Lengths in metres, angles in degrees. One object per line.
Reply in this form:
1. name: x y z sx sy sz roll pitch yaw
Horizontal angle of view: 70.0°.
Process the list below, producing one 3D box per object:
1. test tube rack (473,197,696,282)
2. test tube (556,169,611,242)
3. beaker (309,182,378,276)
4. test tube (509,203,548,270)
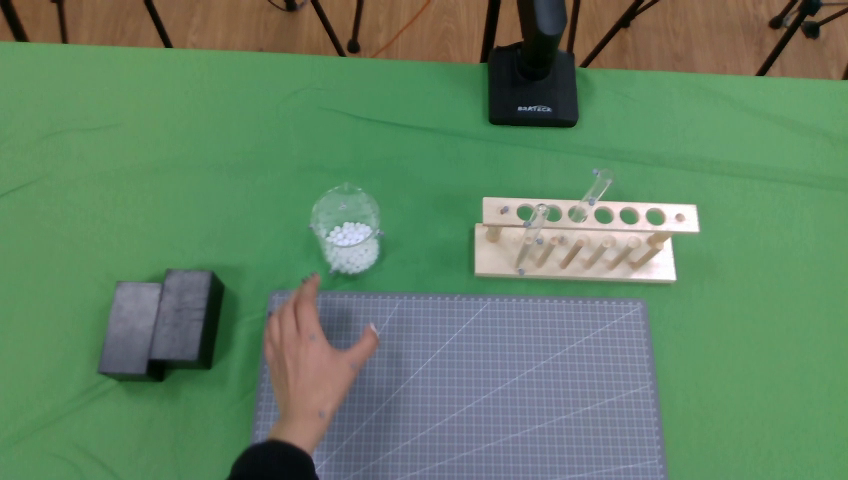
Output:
1. test tube rack: 0.182 0.002 0.712 0.242 0.086 0.066 2 68 -2
2. test tube: 0.174 -0.034 0.673 0.017 0.151 0.017 2 65 -5
3. beaker: -0.089 -0.008 0.695 0.074 0.101 0.083 -2 67 -4
4. test tube: 0.113 -0.001 0.661 0.017 0.151 0.017 1 65 -2
